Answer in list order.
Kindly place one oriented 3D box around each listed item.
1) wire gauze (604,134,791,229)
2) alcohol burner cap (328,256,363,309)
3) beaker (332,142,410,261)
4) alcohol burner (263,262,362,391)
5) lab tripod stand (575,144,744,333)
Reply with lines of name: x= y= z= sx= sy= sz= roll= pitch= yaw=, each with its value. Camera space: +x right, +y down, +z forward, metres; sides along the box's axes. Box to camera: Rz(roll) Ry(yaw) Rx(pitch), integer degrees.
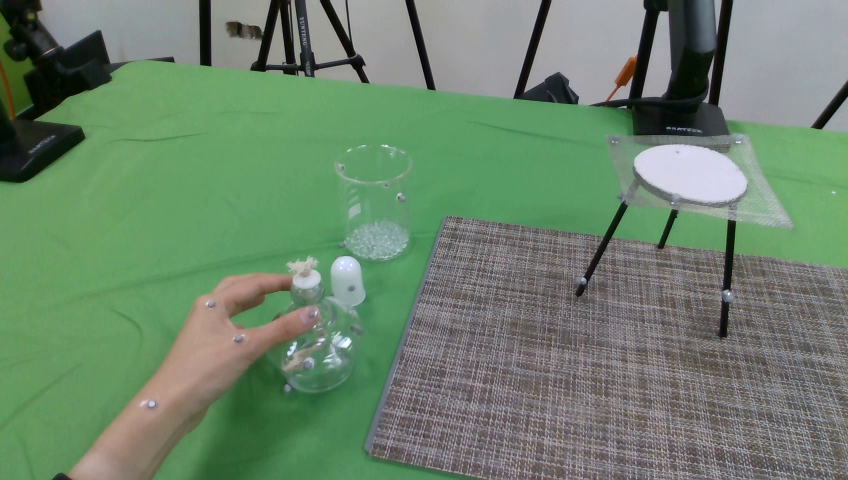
wire gauze: x=0.213 y=-0.055 z=0.488 sx=0.125 sy=0.011 sz=0.120 roll=5 pitch=40 yaw=5
alcohol burner cap: x=-0.074 y=0.036 z=0.559 sx=0.034 sy=0.048 sz=0.033 roll=1 pitch=39 yaw=0
beaker: x=-0.049 y=-0.037 z=0.605 sx=0.073 sy=0.101 sz=0.083 roll=18 pitch=42 yaw=20
alcohol burner: x=-0.088 y=0.062 z=0.470 sx=0.078 sy=0.120 sz=0.077 roll=1 pitch=41 yaw=0
lab tripod stand: x=0.218 y=-0.005 z=0.533 sx=0.148 sy=0.132 sz=0.147 roll=2 pitch=39 yaw=-1
